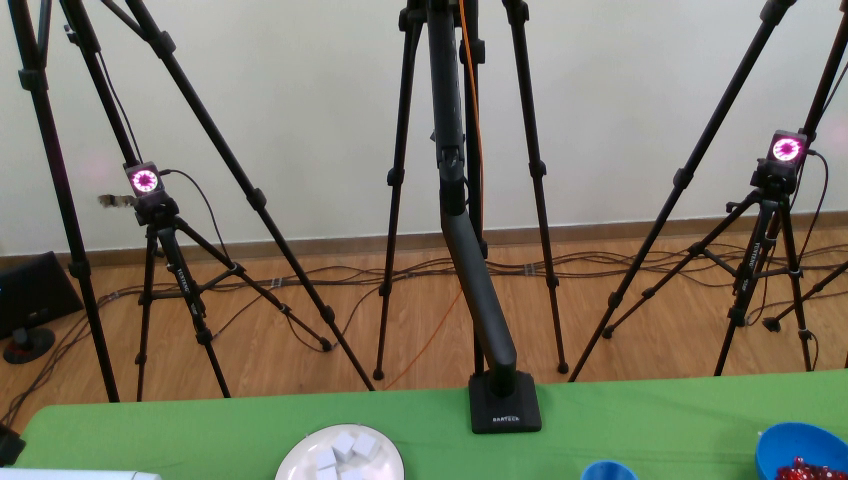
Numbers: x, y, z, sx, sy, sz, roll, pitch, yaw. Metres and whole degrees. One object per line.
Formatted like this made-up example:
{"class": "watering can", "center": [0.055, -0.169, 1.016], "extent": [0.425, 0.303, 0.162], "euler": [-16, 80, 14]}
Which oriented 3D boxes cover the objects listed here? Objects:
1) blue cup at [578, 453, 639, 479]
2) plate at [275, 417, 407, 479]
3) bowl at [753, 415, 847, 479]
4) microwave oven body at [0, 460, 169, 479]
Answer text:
{"class": "blue cup", "center": [0.263, 0.375, 0.883], "extent": [0.092, 0.101, 0.091], "euler": [-2, 41, 2]}
{"class": "plate", "center": [-0.129, 0.380, 0.963], "extent": [0.207, 0.039, 0.205], "euler": [-2, 39, 2]}
{"class": "bowl", "center": [0.566, 0.348, 0.906], "extent": [0.151, 0.077, 0.150], "euler": [-3, 40, 3]}
{"class": "microwave oven body", "center": [-0.486, 0.502, 0.661], "extent": [0.326, 0.262, 0.437], "euler": [0, 40, 4]}
